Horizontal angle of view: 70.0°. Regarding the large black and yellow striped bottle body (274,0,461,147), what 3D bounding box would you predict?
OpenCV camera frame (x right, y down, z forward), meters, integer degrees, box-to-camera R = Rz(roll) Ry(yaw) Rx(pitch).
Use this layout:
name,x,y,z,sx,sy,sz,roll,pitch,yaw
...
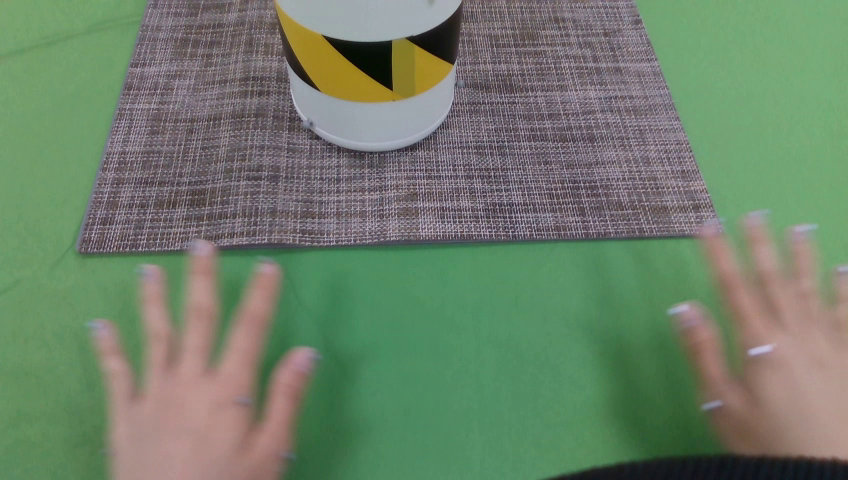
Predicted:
name,x,y,z,sx,sy,sz,roll,pitch,yaw
large black and yellow striped bottle body,-0.038,-0.170,0.416,0.131,0.185,0.129,2,58,-2
